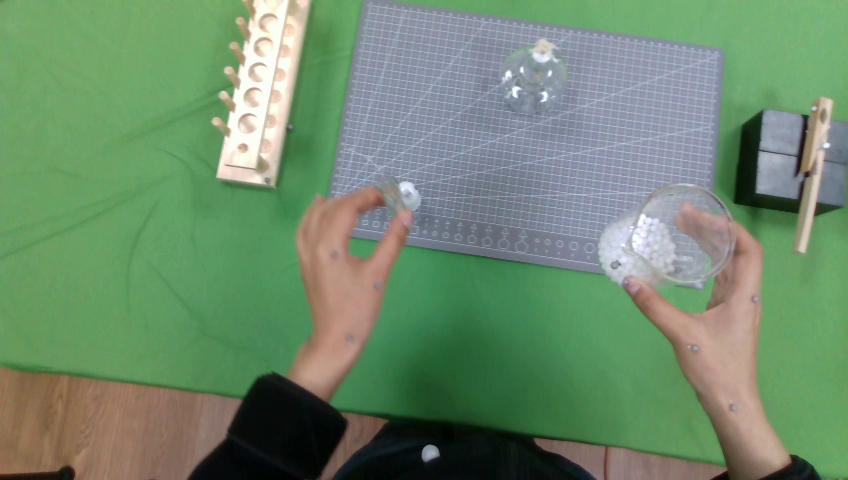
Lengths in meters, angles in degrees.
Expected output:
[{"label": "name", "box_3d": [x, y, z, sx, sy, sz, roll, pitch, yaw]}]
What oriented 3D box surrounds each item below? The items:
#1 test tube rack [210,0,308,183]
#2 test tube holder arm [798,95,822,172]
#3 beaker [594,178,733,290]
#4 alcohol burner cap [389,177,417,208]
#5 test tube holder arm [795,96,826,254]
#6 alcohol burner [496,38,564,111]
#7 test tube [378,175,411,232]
[{"label": "test tube rack", "box_3d": [-0.195, -0.196, 0.696, 0.067, 0.085, 0.241, 9, 82, 1]}, {"label": "test tube holder arm", "box_3d": [0.430, -0.118, 0.674, 0.010, 0.015, 0.087, 11, 83, 3]}, {"label": "beaker", "box_3d": [0.181, 0.002, 0.484, 0.084, 0.100, 0.073, -14, 81, -5]}, {"label": "alcohol burner cap", "box_3d": [-0.025, -0.057, 0.695, 0.034, 0.048, 0.033, 0, 81, -1]}, {"label": "test tube holder arm", "box_3d": [0.427, -0.073, 0.669, 0.013, 0.015, 0.178, 9, 83, 3]}, {"label": "alcohol burner", "box_3d": [0.121, -0.192, 0.680, 0.078, 0.119, 0.077, 0, 81, 2]}, {"label": "test tube", "box_3d": [-0.024, -0.028, 0.524, 0.017, 0.151, 0.017, 0, 79, 3]}]
